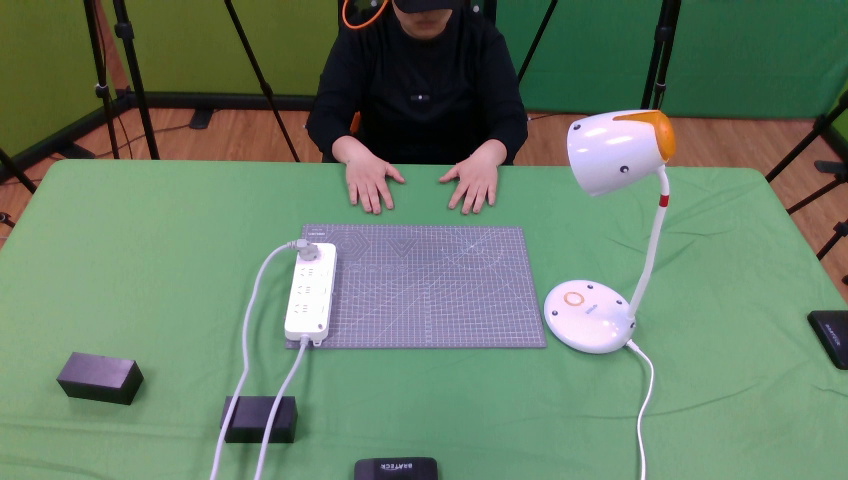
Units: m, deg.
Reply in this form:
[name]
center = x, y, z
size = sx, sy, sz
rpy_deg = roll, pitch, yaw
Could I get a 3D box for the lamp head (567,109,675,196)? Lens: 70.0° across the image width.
[lamp head]
center = 0.272, -0.123, 0.818
size = 0.122, 0.113, 0.112
rpy_deg = -9, 35, 37

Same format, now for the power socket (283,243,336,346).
[power socket]
center = -0.202, 0.088, 1.086
size = 0.072, 0.033, 0.225
rpy_deg = 1, 46, -2

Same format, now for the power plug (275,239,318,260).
[power plug]
center = -0.232, 0.018, 1.120
size = 0.072, 0.053, 0.035
rpy_deg = 9, 46, 6

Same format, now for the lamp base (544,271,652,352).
[lamp base]
center = 0.310, 0.086, 1.029
size = 0.178, 0.181, 0.160
rpy_deg = 32, 52, 21
